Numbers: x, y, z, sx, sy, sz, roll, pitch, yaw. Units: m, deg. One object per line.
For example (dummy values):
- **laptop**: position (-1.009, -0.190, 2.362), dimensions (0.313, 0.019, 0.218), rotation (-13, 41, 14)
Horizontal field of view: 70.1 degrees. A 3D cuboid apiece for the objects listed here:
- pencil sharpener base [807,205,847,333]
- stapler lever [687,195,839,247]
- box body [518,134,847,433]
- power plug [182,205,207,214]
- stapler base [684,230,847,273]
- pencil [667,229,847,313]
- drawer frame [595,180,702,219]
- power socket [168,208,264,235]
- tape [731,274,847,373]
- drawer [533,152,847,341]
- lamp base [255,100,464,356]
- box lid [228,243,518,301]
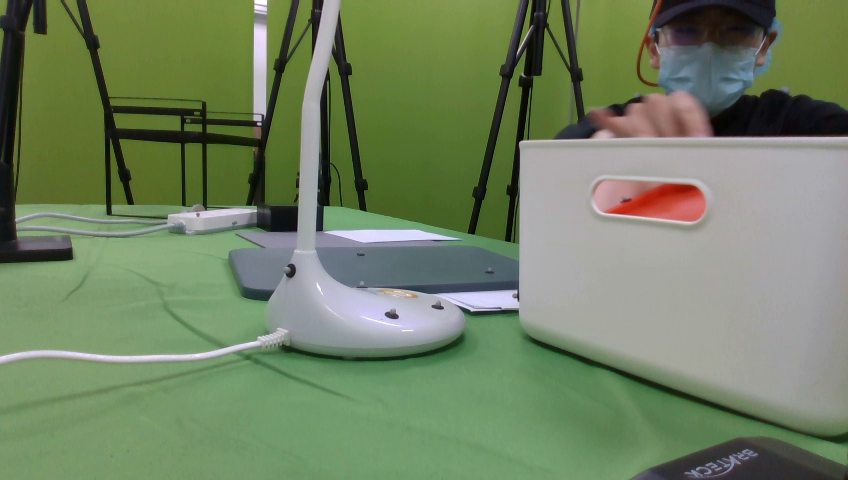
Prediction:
- **pencil sharpener base**: position (0.385, 0.026, 0.519), dimensions (0.062, 0.107, 0.076), rotation (-5, 11, -44)
- **stapler lever**: position (0.264, -0.017, 0.485), dimensions (0.027, 0.040, 0.117), rotation (-23, 10, -21)
- **box body**: position (0.278, 0.005, 0.485), dimensions (0.366, 0.160, 0.253), rotation (-3, 9, -36)
- **power plug**: position (-0.456, -0.041, 1.195), dimensions (0.052, 0.035, 0.072), rotation (0, 40, 24)
- **stapler base**: position (0.270, 0.005, 0.491), dimensions (0.041, 0.024, 0.130), rotation (-22, 12, -21)
- **pencil**: position (0.250, 0.018, 0.466), dimensions (0.012, 0.012, 0.193), rotation (0, 16, -17)
- **drawer frame**: position (0.224, 0.000, 0.464), dimensions (0.214, 0.083, 0.200), rotation (-24, 11, -38)
- **power socket**: position (-0.381, -0.038, 1.129), dimensions (0.072, 0.032, 0.227), rotation (4, 8, 17)
- **tape**: position (0.292, 0.062, 0.448), dimensions (0.117, 0.052, 0.117), rotation (12, 2, 0)
- **drawer**: position (0.225, 0.003, 0.466), dimensions (0.213, 0.073, 0.193), rotation (-24, 10, -38)
- **lamp base**: position (-0.051, -0.014, 0.467), dimensions (0.160, 0.180, 0.180), rotation (7, 11, 34)
- **box lid**: position (-0.044, 0.033, 0.757), dimensions (0.373, 0.015, 0.262), rotation (-1, 9, -22)
